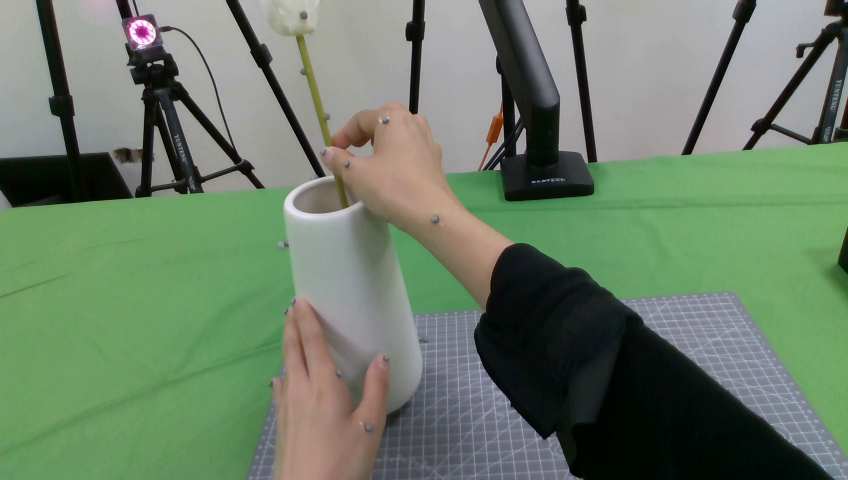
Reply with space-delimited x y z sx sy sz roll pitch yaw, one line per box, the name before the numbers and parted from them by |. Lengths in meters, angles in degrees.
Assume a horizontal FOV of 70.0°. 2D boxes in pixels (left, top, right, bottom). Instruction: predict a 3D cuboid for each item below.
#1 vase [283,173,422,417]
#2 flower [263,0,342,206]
vase | -0.057 0.049 0.493 0.098 0.201 0.097 -4 31 3
flower | -0.062 -0.032 0.462 0.044 0.363 0.038 -19 18 -23
